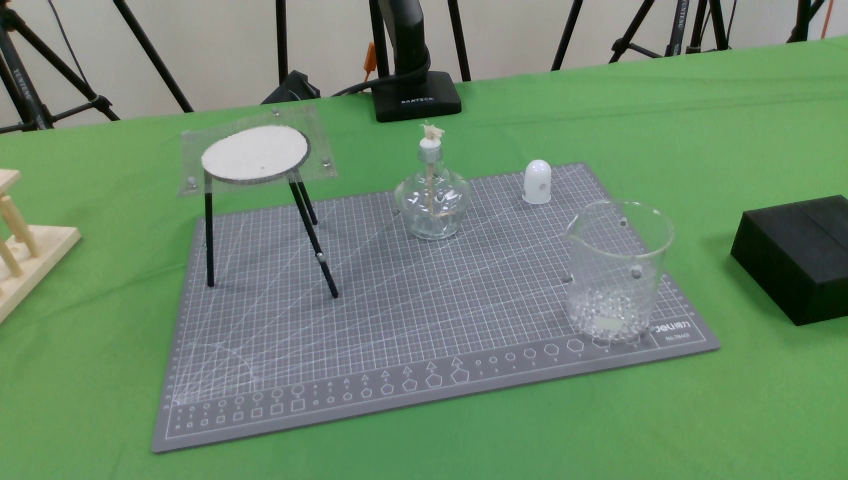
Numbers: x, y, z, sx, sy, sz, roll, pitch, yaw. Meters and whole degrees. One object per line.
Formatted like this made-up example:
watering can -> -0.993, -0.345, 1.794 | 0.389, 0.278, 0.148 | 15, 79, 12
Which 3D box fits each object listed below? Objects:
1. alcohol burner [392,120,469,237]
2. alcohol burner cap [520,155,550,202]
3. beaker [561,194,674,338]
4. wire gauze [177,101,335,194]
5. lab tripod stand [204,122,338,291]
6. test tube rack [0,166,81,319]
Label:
alcohol burner -> 0.006, -0.064, 0.603 | 0.078, 0.120, 0.077 | -3, 37, 2
alcohol burner cap -> 0.121, -0.069, 0.656 | 0.034, 0.048, 0.033 | -3, 39, 3
beaker -> 0.151, 0.024, 0.494 | 0.084, 0.101, 0.073 | -2, 39, 5
wire gauze -> -0.146, -0.079, 0.512 | 0.125, 0.011, 0.120 | -13, 40, -10
lab tripod stand -> -0.142, -0.028, 0.555 | 0.148, 0.133, 0.147 | -3, 41, 3
test tube rack -> -0.426, 0.034, 0.545 | 0.066, 0.086, 0.240 | 4, 40, 9
